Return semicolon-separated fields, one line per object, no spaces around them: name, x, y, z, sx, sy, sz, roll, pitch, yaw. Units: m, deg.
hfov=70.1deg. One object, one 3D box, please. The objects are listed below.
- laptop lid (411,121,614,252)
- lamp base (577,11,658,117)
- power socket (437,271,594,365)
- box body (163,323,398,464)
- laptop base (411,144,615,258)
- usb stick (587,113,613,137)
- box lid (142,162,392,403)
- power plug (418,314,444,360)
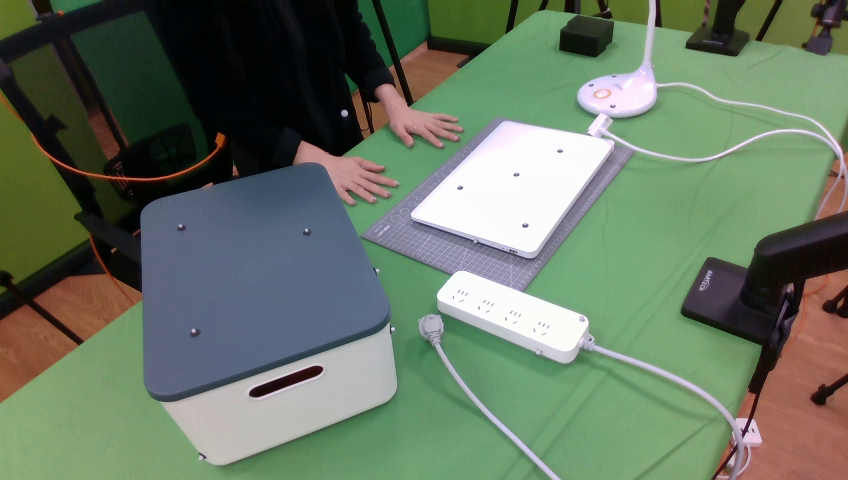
laptop lid;0.164;-0.112;1.068;0.240;0.013;0.357;19;46;30
lamp base;0.407;-0.365;1.223;0.180;0.181;0.159;-20;42;-18
power socket;0.118;0.103;0.830;0.225;0.033;0.072;20;49;28
box body;-0.205;0.080;0.802;0.255;0.161;0.361;-18;41;-13
laptop base;0.167;-0.102;1.074;0.234;0.023;0.355;16;45;30
usb stick;0.329;-0.210;1.149;0.022;0.059;0.027;29;19;-27
box lid;-0.212;0.024;0.752;0.264;0.015;0.368;-17;41;-13
power plug;0.008;0.133;0.804;0.035;0.053;0.072;0;57;5
